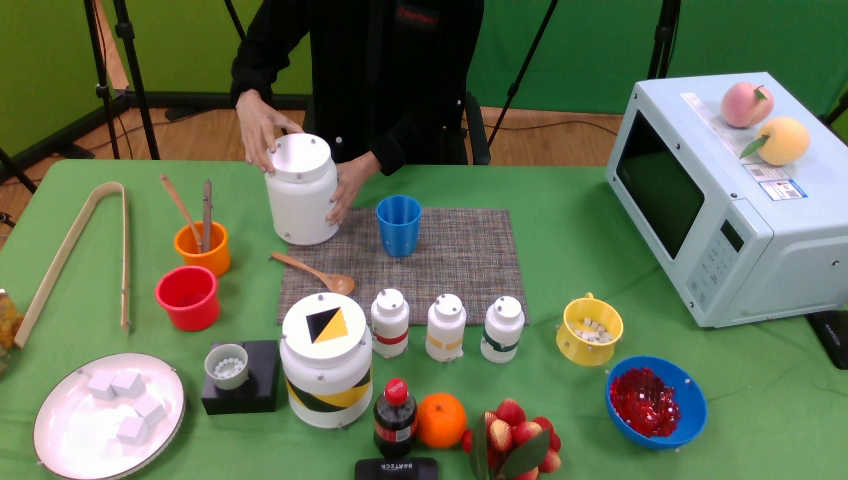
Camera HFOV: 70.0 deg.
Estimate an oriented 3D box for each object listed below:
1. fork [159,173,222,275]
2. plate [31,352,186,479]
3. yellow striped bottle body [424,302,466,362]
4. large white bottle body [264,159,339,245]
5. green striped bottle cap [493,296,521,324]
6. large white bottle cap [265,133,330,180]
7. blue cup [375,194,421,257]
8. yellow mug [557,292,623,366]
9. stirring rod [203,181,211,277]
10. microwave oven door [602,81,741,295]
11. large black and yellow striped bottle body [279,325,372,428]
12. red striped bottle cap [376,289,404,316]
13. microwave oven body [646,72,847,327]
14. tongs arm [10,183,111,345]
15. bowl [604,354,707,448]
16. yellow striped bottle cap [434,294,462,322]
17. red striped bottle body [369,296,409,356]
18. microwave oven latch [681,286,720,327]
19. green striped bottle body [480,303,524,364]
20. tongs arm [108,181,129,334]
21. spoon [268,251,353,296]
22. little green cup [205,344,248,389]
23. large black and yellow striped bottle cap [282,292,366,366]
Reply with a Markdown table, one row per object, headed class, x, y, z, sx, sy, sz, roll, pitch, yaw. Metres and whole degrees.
| class | x | y | z | sx | sy | sz | roll | pitch | yaw |
| --- | --- | --- | --- | --- | --- | --- | --- | --- | --- |
| fork | -0.427 | -0.029 | 1.103 | 0.028 | 0.018 | 0.207 | -31 | 99 | -30 |
| plate | -0.459 | 0.262 | 0.898 | 0.209 | 0.038 | 0.208 | 2 | 46 | -2 |
| yellow striped bottle body | 0.035 | 0.143 | 0.995 | 0.063 | 0.121 | 0.062 | 3 | 46 | -3 |
| large white bottle body | -0.232 | -0.094 | 1.151 | 0.131 | 0.185 | 0.130 | 2 | 47 | -2 |
| green striped bottle cap | 0.133 | 0.111 | 0.962 | 0.044 | 0.020 | 0.044 | 2 | 47 | -2 |
| large white bottle cap | -0.226 | -0.152 | 1.090 | 0.115 | 0.018 | 0.114 | 3 | 47 | -3 |
| blue cup | -0.050 | -0.022 | 1.155 | 0.093 | 0.101 | 0.092 | 1 | 46 | -1 |
| yellow mug | 0.285 | 0.145 | 1.051 | 0.100 | 0.064 | 0.130 | 7 | 45 | 4 |
| stirring rod | -0.396 | -0.021 | 1.107 | 0.014 | 0.006 | 0.176 | -1 | 89 | -2 |
| microwave oven door | 0.456 | -0.107 | 1.162 | 0.039 | 0.245 | 0.353 | -7 | 47 | -11 |
| large black and yellow striped bottle body | -0.143 | 0.181 | 0.900 | 0.131 | 0.185 | 0.130 | 2 | 46 | -2 |
| red striped bottle cap | -0.054 | 0.098 | 0.958 | 0.044 | 0.018 | 0.044 | 0 | 48 | 1 |
| microwave oven body | 0.607 | -0.089 | 1.164 | 0.326 | 0.261 | 0.438 | -7 | 46 | -10 |
| tongs arm | -0.658 | 0.027 | 1.109 | 0.028 | 0.028 | 0.385 | -2 | 45 | 2 |
| bowl | 0.346 | 0.261 | 0.937 | 0.151 | 0.077 | 0.150 | 2 | 46 | -2 |
| yellow striped bottle cap | 0.038 | 0.107 | 0.958 | 0.044 | 0.019 | 0.044 | 2 | 45 | -2 |
| red striped bottle body | -0.059 | 0.134 | 0.997 | 0.063 | 0.120 | 0.062 | 5 | 48 | -5 |
| microwave oven latch | 0.494 | 0.119 | 1.086 | 0.030 | 0.029 | 0.078 | -5 | 46 | -9 |
| green striped bottle body | 0.129 | 0.147 | 1.000 | 0.063 | 0.120 | 0.063 | 2 | 46 | -2 |
| tongs arm | -0.571 | 0.019 | 1.123 | 0.051 | 0.026 | 0.382 | -10 | 47 | -12 |
| spoon | -0.212 | 0.057 | 1.121 | 0.193 | 0.022 | 0.041 | 24 | 74 | 18 |
| little green cup | -0.294 | 0.191 | 0.909 | 0.061 | 0.039 | 0.061 | 1 | 47 | -1 |
| large black and yellow striped bottle cap | -0.138 | 0.121 | 0.841 | 0.115 | 0.019 | 0.114 | 3 | 47 | -3 |
